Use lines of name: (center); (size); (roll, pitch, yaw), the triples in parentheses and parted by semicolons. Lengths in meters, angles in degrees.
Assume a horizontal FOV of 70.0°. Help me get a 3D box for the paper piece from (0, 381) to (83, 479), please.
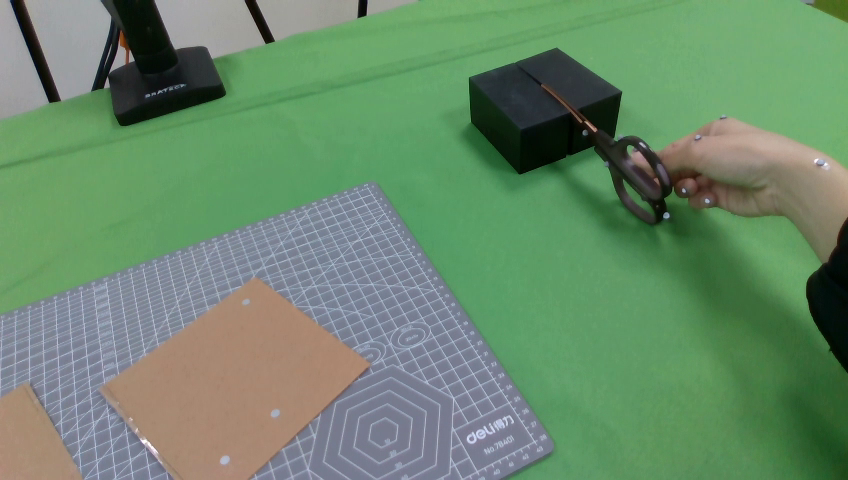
paper piece: (-0.284, 0.166, 0.366); (0.135, 0.004, 0.134); (-35, 51, -26)

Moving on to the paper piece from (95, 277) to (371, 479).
paper piece: (-0.131, 0.095, 0.420); (0.135, 0.009, 0.138); (34, 56, 28)

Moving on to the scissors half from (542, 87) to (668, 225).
scissors half: (0.149, -0.077, 0.522); (0.013, 0.040, 0.173); (-27, 61, -8)

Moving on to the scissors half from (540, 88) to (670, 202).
scissors half: (0.144, -0.089, 0.506); (0.013, 0.040, 0.173); (-31, 44, -4)
